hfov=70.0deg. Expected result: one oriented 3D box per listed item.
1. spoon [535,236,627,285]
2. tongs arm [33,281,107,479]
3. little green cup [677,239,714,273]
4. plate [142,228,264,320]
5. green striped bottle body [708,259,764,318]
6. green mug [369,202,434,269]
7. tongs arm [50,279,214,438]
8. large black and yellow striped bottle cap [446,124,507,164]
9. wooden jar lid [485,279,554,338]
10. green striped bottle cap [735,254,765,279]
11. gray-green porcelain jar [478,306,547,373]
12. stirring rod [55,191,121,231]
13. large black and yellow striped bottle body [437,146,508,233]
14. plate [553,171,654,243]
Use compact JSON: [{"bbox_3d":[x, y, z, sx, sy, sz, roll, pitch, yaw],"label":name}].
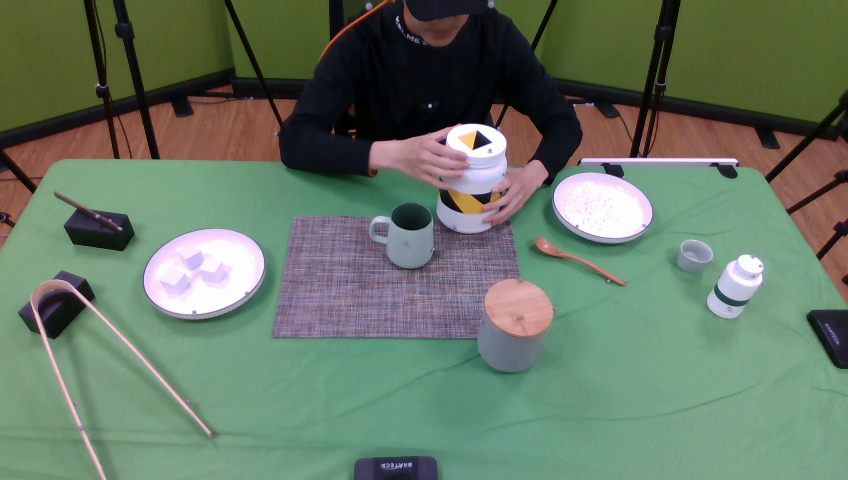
[{"bbox_3d":[0.303,0.040,1.178,0.193,0.022,0.041,25,33,19],"label":"spoon"},{"bbox_3d":[-0.517,0.214,0.910,0.051,0.026,0.383,-29,63,-26],"label":"tongs arm"},{"bbox_3d":[0.530,0.033,1.189,0.061,0.039,0.061,2,47,-2],"label":"little green cup"},{"bbox_3d":[-0.394,0.064,1.095,0.208,0.039,0.206,2,46,-2],"label":"plate"},{"bbox_3d":[0.563,0.081,1.089,0.063,0.120,0.063,2,46,-2],"label":"green striped bottle body"},{"bbox_3d":[-0.043,-0.010,1.140,0.125,0.105,0.092,8,47,4],"label":"green mug"},{"bbox_3d":[-0.459,0.178,0.949,0.386,0.028,0.028,37,60,17],"label":"tongs arm"},{"bbox_3d":[0.099,-0.182,1.143,0.115,0.019,0.114,2,42,-1],"label":"large black and yellow striped bottle cap"},{"bbox_3d":[0.147,0.108,0.940,0.108,0.021,0.107,4,47,-5],"label":"wooden jar lid"},{"bbox_3d":[0.566,0.046,1.051,0.044,0.020,0.044,0,45,0],"label":"green striped bottle cap"},{"bbox_3d":[0.144,0.148,0.989,0.106,0.127,0.105,2,50,-2],"label":"gray-green porcelain jar"},{"bbox_3d":[-0.632,-0.055,1.138,0.175,0.014,0.006,24,50,19],"label":"stirring rod"},{"bbox_3d":[0.095,-0.120,1.202,0.131,0.185,0.130,2,42,-2],"label":"large black and yellow striped bottle body"},{"bbox_3d":[0.373,-0.066,1.274,0.209,0.038,0.208,2,46,-2],"label":"plate"}]
